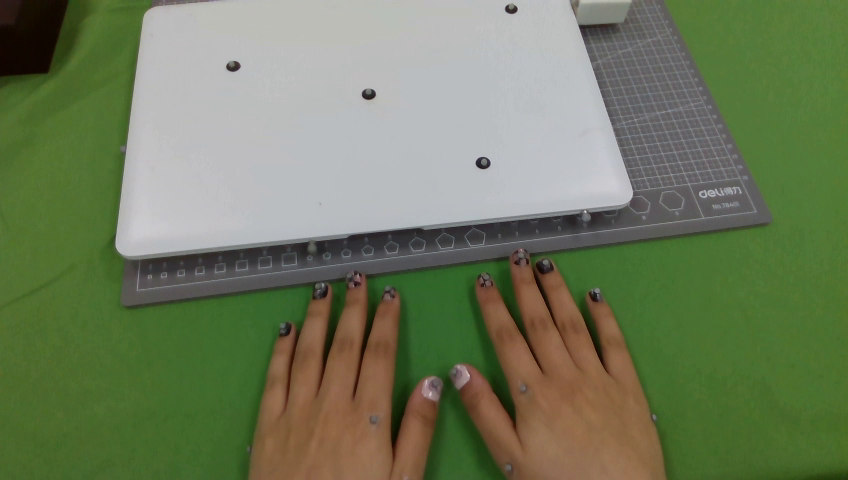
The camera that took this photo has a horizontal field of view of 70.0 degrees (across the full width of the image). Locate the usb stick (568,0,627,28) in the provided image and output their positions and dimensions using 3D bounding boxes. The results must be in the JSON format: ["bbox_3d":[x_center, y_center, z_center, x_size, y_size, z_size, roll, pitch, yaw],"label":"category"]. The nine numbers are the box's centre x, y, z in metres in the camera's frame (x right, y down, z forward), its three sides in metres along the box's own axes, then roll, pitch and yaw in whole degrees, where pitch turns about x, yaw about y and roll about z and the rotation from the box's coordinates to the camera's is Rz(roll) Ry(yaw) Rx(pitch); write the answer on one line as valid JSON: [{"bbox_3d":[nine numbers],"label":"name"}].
[{"bbox_3d":[0.139,-0.197,0.514,0.059,0.027,0.021,-5,62,-2],"label":"usb stick"}]

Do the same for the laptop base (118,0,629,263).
[{"bbox_3d":[-0.042,-0.102,0.470,0.355,0.023,0.233,-6,64,-5],"label":"laptop base"}]

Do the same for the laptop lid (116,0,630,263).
[{"bbox_3d":[-0.042,-0.105,0.459,0.357,0.013,0.239,-5,63,-4],"label":"laptop lid"}]
